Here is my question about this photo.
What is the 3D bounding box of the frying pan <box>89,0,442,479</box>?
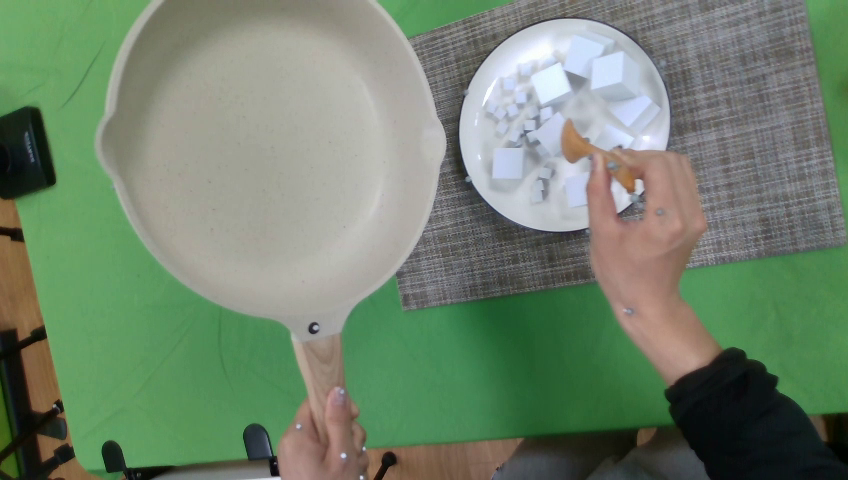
[{"bbox_3d":[-0.104,0.018,0.520,0.102,0.308,0.487,-7,91,52],"label":"frying pan"}]

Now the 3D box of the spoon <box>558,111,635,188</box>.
[{"bbox_3d":[0.134,-0.073,0.480,0.021,0.192,0.042,-9,109,0],"label":"spoon"}]

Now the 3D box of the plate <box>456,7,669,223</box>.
[{"bbox_3d":[0.134,-0.121,0.606,0.207,0.039,0.208,3,98,21],"label":"plate"}]
